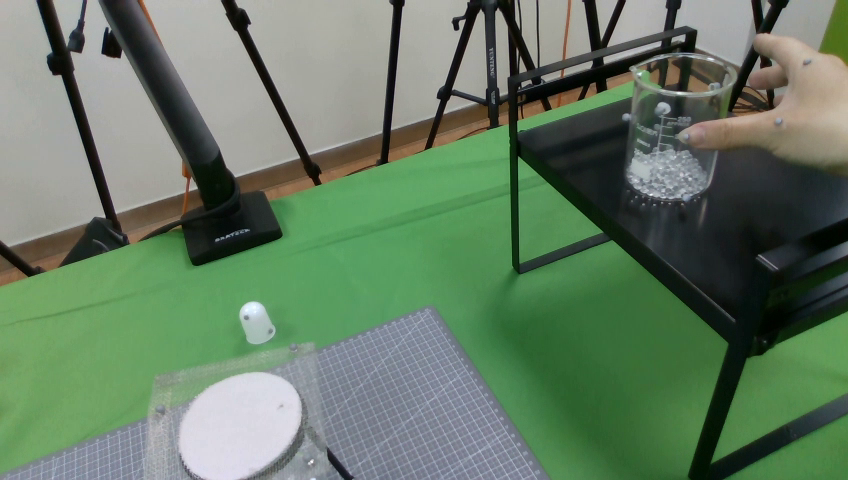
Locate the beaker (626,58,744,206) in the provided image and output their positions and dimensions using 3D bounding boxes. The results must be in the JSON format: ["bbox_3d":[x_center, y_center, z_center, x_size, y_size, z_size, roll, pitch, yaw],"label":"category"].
[{"bbox_3d":[0.202,-0.086,0.490,0.074,0.101,0.083,-34,45,-30],"label":"beaker"}]

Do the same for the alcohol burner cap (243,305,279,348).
[{"bbox_3d":[-0.181,0.093,0.668,0.034,0.048,0.033,-5,40,4],"label":"alcohol burner cap"}]

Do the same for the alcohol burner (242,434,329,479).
[{"bbox_3d":[-0.114,0.191,0.470,0.078,0.120,0.077,-6,37,5],"label":"alcohol burner"}]

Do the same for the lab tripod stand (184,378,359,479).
[{"bbox_3d":[-0.117,0.185,0.463,0.148,0.133,0.147,-4,41,4],"label":"lab tripod stand"}]

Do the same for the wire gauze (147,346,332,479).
[{"bbox_3d":[-0.129,0.131,0.423,0.121,0.011,0.123,-13,41,-7],"label":"wire gauze"}]
